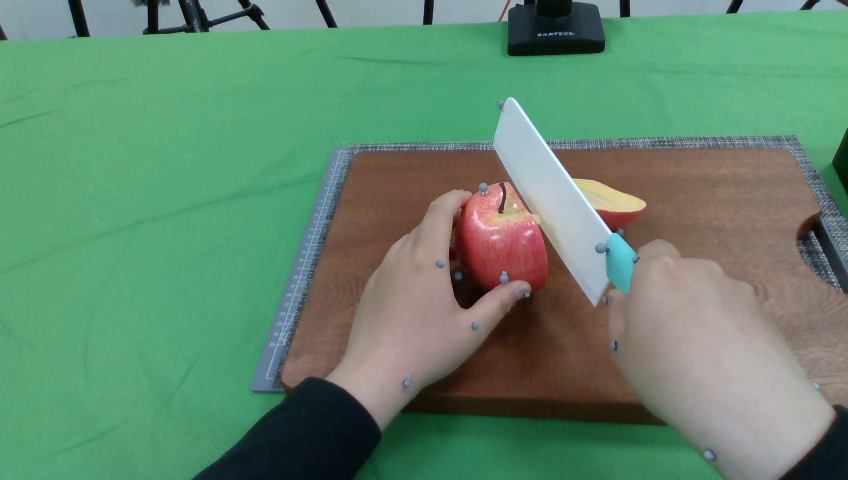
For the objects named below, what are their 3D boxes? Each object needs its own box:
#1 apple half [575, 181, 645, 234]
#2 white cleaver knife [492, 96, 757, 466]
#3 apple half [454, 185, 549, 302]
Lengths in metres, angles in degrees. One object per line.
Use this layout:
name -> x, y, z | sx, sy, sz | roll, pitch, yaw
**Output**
apple half -> 0.128, -0.021, 0.476 | 0.081, 0.033, 0.080 | 8, 24, -3
white cleaver knife -> 0.109, 0.009, 0.387 | 0.021, 0.066, 0.283 | -13, 51, -15
apple half -> 0.050, 0.007, 0.433 | 0.053, 0.075, 0.080 | -19, 48, -6
